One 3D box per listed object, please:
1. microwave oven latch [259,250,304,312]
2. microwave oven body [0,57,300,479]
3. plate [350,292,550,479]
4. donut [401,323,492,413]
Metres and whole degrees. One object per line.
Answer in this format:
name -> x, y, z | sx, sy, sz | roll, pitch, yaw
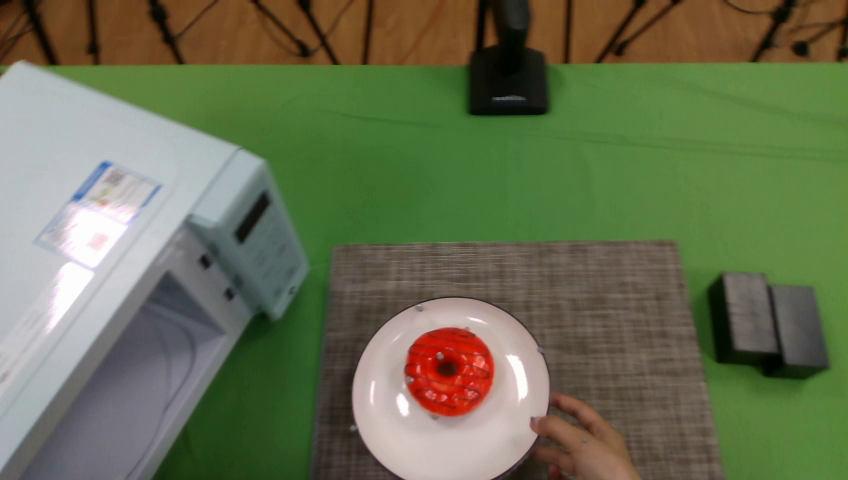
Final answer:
microwave oven latch -> -0.176, 0.046, 0.741 | 0.030, 0.030, 0.079 | 21, 66, 11
microwave oven body -> -0.386, 0.094, 0.611 | 0.325, 0.262, 0.439 | 21, 66, 11
plate -> 0.028, 0.153, 0.640 | 0.209, 0.038, 0.207 | -5, 57, 7
donut -> 0.024, 0.134, 0.640 | 0.099, 0.049, 0.098 | -3, 57, 6
